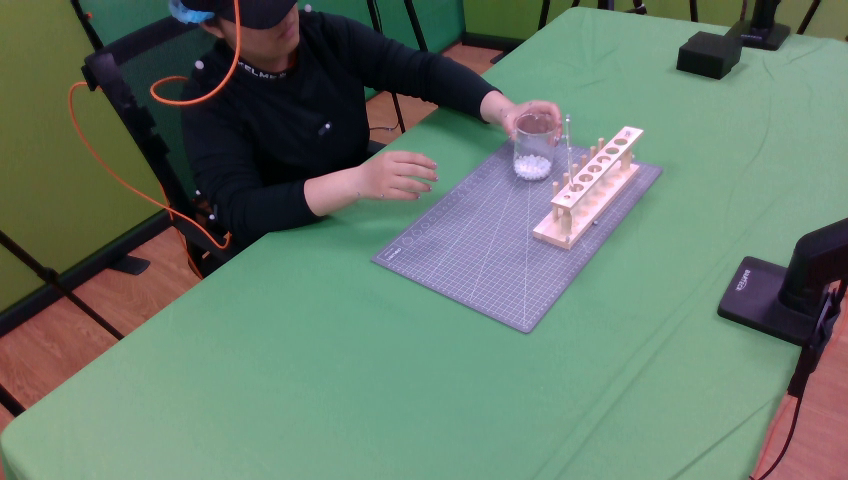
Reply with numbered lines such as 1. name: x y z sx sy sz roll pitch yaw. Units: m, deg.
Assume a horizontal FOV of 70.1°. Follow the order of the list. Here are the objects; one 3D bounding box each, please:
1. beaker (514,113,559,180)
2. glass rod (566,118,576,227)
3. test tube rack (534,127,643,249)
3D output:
1. beaker: 0.196 -0.164 1.068 0.074 0.100 0.083 2 42 7
2. glass rod: 0.217 -0.094 0.895 0.008 0.201 0.008 -8 41 8
3. test tube rack: 0.271 -0.094 0.989 0.066 0.085 0.243 23 50 33
